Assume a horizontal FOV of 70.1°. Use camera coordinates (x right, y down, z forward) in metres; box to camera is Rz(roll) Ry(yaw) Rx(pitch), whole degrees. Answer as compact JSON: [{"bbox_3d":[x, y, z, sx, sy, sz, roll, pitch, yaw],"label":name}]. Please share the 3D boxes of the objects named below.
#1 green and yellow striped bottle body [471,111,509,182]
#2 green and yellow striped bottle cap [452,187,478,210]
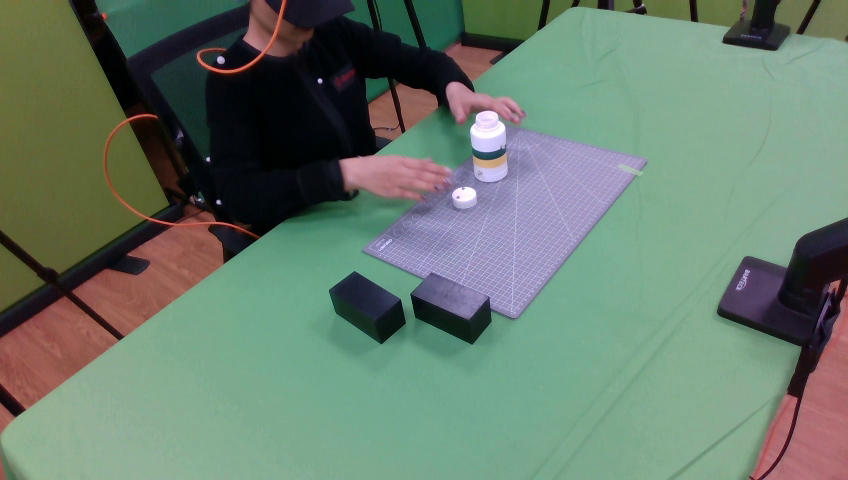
[{"bbox_3d":[0.117,-0.169,1.079,0.063,0.120,0.063,-6,40,5],"label":"green and yellow striped bottle body"},{"bbox_3d":[0.072,-0.074,1.057,0.045,0.020,0.045,-7,39,6],"label":"green and yellow striped bottle cap"}]
